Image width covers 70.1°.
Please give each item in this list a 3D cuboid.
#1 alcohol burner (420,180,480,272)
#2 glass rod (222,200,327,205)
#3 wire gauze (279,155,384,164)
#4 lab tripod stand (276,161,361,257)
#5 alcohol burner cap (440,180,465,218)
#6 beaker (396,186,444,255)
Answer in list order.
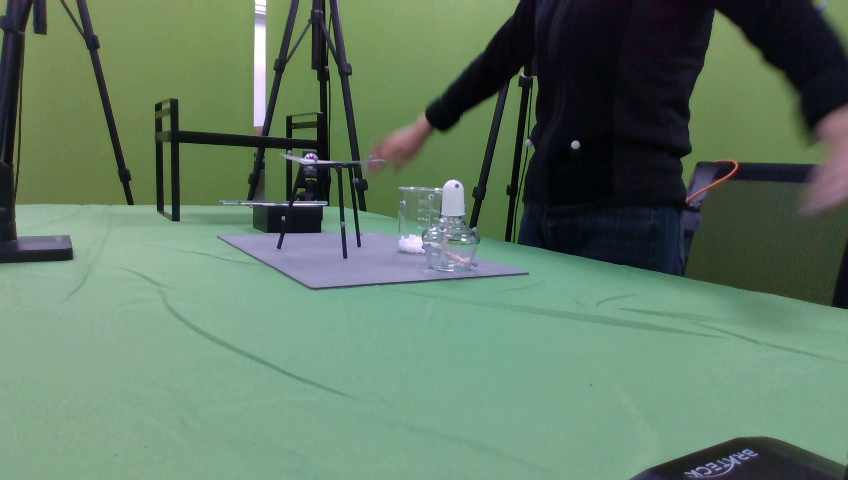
[{"bbox_3d":[0.035,-0.018,0.785,0.078,0.119,0.078,4,6,0],"label":"alcohol burner"},{"bbox_3d":[-0.276,-0.069,1.134,0.201,0.008,0.008,-1,8,-33],"label":"glass rod"},{"bbox_3d":[-0.134,-0.114,0.875,0.122,0.011,0.124,-2,9,-30],"label":"wire gauze"},{"bbox_3d":[-0.143,-0.049,0.884,0.148,0.131,0.148,1,9,0],"label":"lab tripod stand"},{"bbox_3d":[0.038,-0.054,0.781,0.034,0.048,0.034,0,13,0],"label":"alcohol burner cap"},{"bbox_3d":[-0.003,-0.030,0.921,0.083,0.100,0.074,8,9,31],"label":"beaker"}]
